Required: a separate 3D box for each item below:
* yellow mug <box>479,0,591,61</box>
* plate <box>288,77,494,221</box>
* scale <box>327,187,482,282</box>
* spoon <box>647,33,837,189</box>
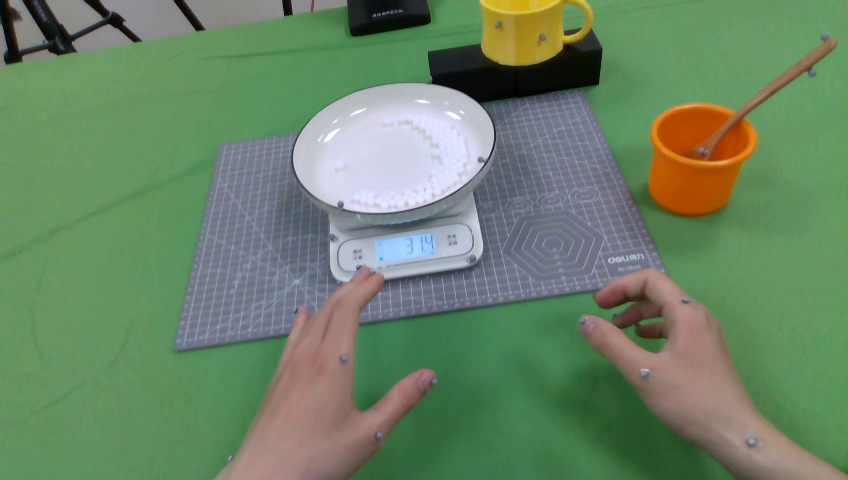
[{"bbox_3d":[0.127,-0.263,0.702,0.130,0.064,0.099,8,52,15],"label":"yellow mug"},{"bbox_3d":[-0.032,-0.092,0.620,0.209,0.038,0.207,-4,49,4],"label":"plate"},{"bbox_3d":[-0.026,-0.050,0.625,0.148,0.032,0.198,-9,49,2],"label":"scale"},{"bbox_3d":[0.288,-0.114,0.559,0.022,0.194,0.041,23,36,-30],"label":"spoon"}]
